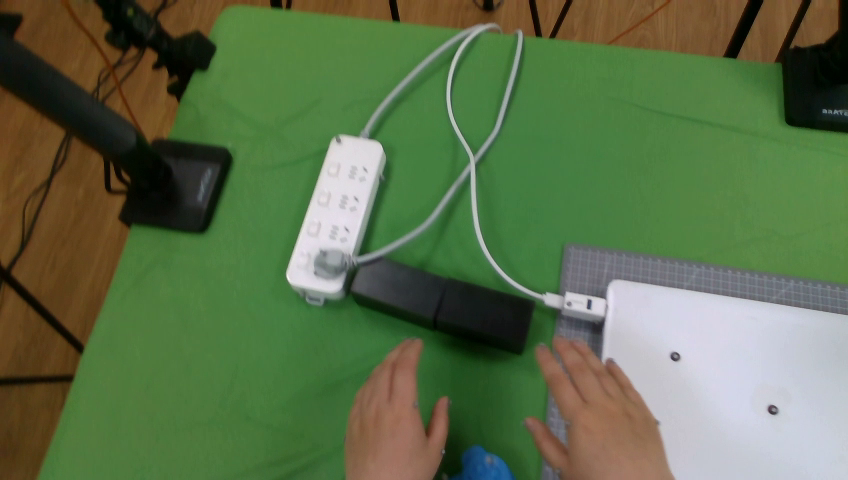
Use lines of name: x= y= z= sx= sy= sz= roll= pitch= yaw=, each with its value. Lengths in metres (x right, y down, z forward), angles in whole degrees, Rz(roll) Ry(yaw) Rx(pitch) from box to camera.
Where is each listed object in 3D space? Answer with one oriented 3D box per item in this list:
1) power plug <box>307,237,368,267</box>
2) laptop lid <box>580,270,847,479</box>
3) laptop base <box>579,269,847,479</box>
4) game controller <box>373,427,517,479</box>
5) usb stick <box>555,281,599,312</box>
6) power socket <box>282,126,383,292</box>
power plug: x=-0.102 y=0.020 z=0.703 sx=0.072 sy=0.053 sz=0.035 roll=23 pitch=70 yaw=10
laptop lid: x=0.352 y=0.168 z=0.633 sx=0.356 sy=0.013 sz=0.240 roll=11 pitch=71 yaw=8
laptop base: x=0.354 y=0.170 z=0.645 sx=0.354 sy=0.023 sz=0.234 roll=9 pitch=72 yaw=7
game controller: x=0.017 y=0.260 z=0.613 sx=0.155 sy=0.052 sz=0.096 roll=-27 pitch=67 yaw=-8
usb stick: x=0.180 y=0.065 z=0.684 sx=0.059 sy=0.027 sz=0.021 roll=13 pitch=67 yaw=4
power socket: x=-0.111 y=-0.045 z=0.752 sx=0.072 sy=0.033 sz=0.225 roll=12 pitch=68 yaw=7
